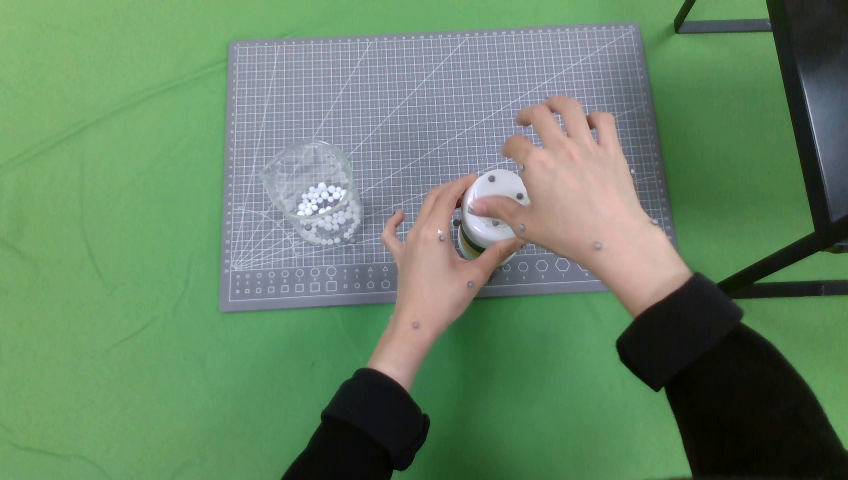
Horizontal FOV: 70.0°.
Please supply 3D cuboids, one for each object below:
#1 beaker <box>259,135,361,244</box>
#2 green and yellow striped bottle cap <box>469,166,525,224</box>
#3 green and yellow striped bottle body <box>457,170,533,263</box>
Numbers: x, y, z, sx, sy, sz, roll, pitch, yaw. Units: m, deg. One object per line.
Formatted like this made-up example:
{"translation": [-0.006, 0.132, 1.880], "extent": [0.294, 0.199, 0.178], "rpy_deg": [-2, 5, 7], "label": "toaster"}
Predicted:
{"translation": [-0.101, -0.042, 0.563], "extent": [0.084, 0.101, 0.073], "rpy_deg": [8, 73, 3], "label": "beaker"}
{"translation": [0.060, -0.037, 0.492], "extent": [0.045, 0.020, 0.045], "rpy_deg": [1, 70, -1], "label": "green and yellow striped bottle cap"}
{"translation": [0.062, -0.023, 0.546], "extent": [0.063, 0.120, 0.063], "rpy_deg": [0, 74, 1], "label": "green and yellow striped bottle body"}
